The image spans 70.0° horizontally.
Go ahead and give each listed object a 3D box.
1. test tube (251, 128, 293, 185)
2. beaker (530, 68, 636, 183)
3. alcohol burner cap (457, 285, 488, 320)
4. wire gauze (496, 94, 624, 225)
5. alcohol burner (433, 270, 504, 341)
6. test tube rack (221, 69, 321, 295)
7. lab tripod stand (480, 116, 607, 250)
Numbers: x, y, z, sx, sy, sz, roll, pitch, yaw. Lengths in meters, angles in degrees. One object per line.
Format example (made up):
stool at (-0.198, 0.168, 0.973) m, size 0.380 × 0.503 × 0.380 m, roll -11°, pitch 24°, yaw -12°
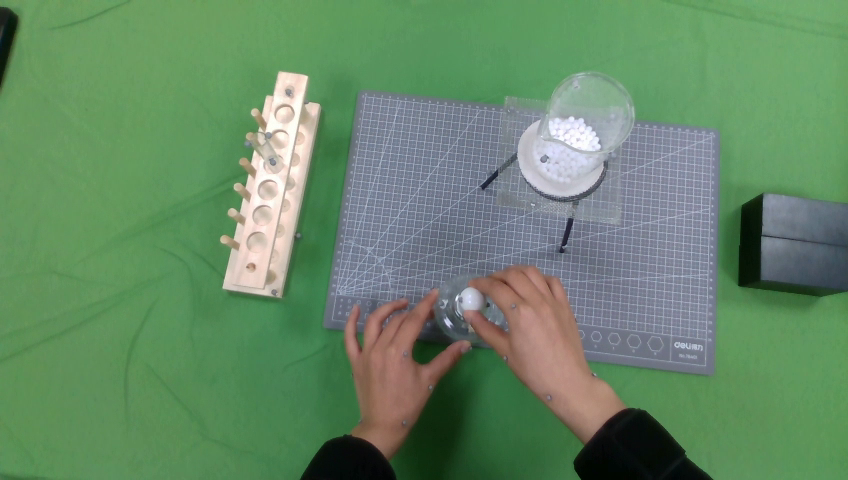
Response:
test tube at (-0.158, -0.085, 0.644) m, size 0.017 × 0.150 × 0.017 m, roll 0°, pitch 79°, yaw -2°
beaker at (0.137, -0.097, 0.556) m, size 0.084 × 0.100 × 0.073 m, roll -26°, pitch 79°, yaw -6°
alcohol burner cap at (0.049, 0.062, 0.613) m, size 0.034 × 0.048 × 0.033 m, roll -1°, pitch 75°, yaw 5°
wire gauze at (0.136, -0.083, 0.602) m, size 0.125 × 0.011 × 0.121 m, roll 8°, pitch 79°, yaw -1°
alcohol burner at (0.049, 0.068, 0.648) m, size 0.078 × 0.119 × 0.077 m, roll 1°, pitch 78°, yaw -2°
test tube rack at (-0.179, -0.066, 0.690) m, size 0.067 × 0.085 × 0.241 m, roll 9°, pitch 79°, yaw 2°
lab tripod stand at (0.140, -0.073, 0.667) m, size 0.148 × 0.132 × 0.147 m, roll 0°, pitch 76°, yaw 0°
